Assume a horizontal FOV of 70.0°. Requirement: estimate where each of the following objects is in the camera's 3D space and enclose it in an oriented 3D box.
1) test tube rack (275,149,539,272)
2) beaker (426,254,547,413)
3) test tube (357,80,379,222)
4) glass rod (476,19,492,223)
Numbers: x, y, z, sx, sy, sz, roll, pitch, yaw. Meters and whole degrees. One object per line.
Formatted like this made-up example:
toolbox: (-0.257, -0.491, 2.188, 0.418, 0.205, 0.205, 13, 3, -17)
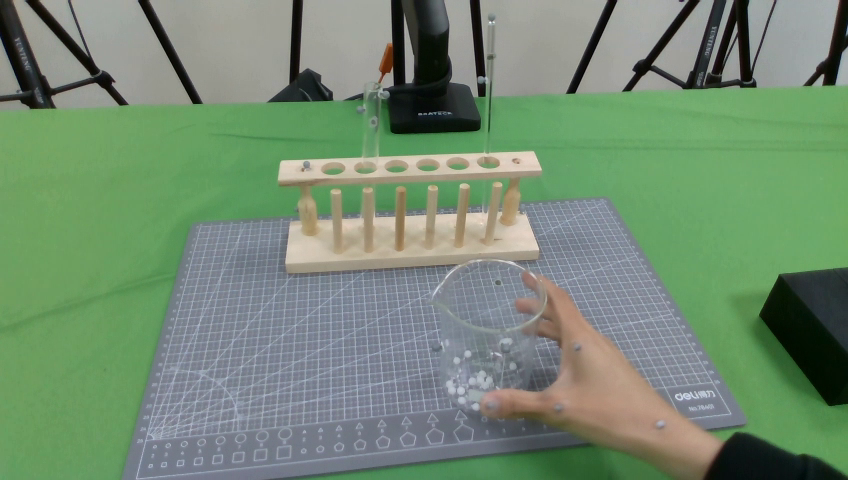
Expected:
test tube rack: (-0.014, -0.029, 0.579, 0.243, 0.086, 0.066, -3, 40, -6)
beaker: (0.043, 0.072, 0.447, 0.084, 0.101, 0.073, -2, 39, -3)
test tube: (-0.052, -0.075, 0.555, 0.017, 0.151, 0.017, 4, 41, -3)
glass rod: (0.055, -0.103, 0.566, 0.008, 0.201, 0.008, 0, 33, 1)
